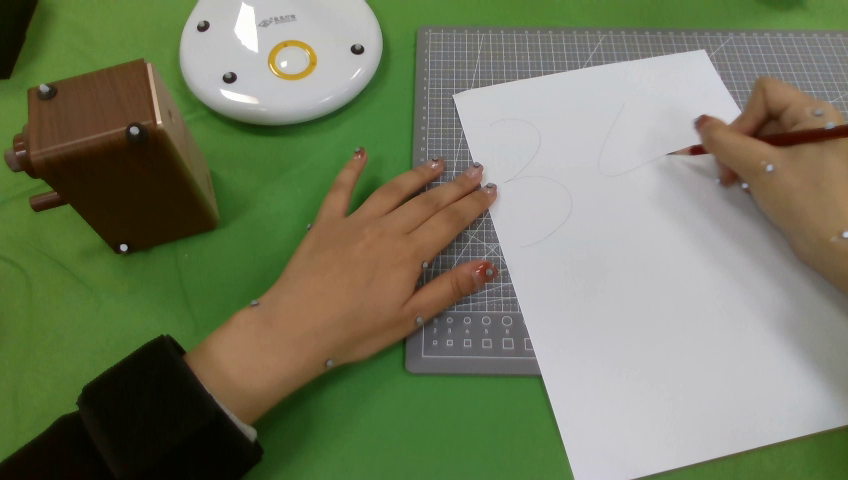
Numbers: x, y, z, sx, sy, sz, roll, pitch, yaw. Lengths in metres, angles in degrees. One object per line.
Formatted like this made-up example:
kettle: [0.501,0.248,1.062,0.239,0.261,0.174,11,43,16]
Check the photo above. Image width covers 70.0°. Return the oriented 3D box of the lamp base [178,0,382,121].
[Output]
lamp base: [-0.122,-0.206,0.424,0.161,0.182,0.177,-27,62,-14]

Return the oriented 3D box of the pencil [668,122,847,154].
pencil: [0.233,-0.064,0.363,0.012,0.193,0.012,-1,91,-34]

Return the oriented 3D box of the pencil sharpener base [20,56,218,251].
pencil sharpener base: [-0.185,-0.049,0.378,0.077,0.108,0.061,-18,62,-9]

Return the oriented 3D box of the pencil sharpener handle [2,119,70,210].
pencil sharpener handle: [-0.233,-0.040,0.359,0.031,0.068,0.035,-18,64,-9]
